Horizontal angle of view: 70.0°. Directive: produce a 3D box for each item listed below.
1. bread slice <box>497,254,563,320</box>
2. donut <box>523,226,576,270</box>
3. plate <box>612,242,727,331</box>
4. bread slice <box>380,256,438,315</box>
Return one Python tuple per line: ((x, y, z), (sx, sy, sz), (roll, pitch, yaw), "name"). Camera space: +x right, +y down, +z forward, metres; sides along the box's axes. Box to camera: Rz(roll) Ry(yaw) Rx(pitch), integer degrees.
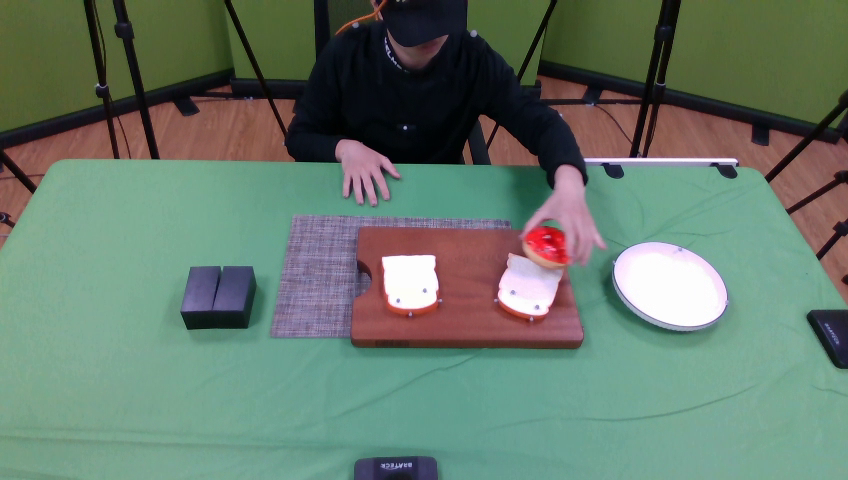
((0.189, 0.087, 1.095), (0.107, 0.018, 0.134), (15, 45, 10), "bread slice")
((0.225, 0.015, 1.084), (0.099, 0.048, 0.098), (10, 38, -7), "donut")
((0.455, 0.090, 1.138), (0.209, 0.038, 0.208), (3, 45, -2), "plate")
((-0.024, 0.079, 1.087), (0.105, 0.019, 0.130), (-3, 45, -5), "bread slice")
